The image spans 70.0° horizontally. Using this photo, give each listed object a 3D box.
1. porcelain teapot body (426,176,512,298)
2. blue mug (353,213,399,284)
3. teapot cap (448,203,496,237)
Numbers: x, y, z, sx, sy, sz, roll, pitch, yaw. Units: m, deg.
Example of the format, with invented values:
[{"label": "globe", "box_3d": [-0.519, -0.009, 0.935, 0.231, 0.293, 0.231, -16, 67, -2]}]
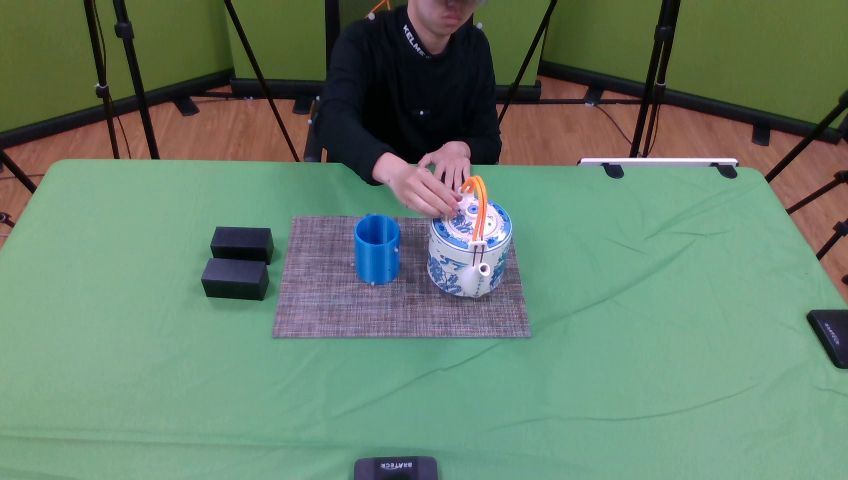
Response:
[{"label": "porcelain teapot body", "box_3d": [0.085, 0.009, 1.051, 0.145, 0.226, 0.204, -5, 47, -8]}, {"label": "blue mug", "box_3d": [-0.093, 0.006, 1.123, 0.082, 0.106, 0.115, -11, 48, -15]}, {"label": "teapot cap", "box_3d": [0.083, -0.038, 1.041, 0.085, 0.044, 0.084, 0, 48, 0]}]
